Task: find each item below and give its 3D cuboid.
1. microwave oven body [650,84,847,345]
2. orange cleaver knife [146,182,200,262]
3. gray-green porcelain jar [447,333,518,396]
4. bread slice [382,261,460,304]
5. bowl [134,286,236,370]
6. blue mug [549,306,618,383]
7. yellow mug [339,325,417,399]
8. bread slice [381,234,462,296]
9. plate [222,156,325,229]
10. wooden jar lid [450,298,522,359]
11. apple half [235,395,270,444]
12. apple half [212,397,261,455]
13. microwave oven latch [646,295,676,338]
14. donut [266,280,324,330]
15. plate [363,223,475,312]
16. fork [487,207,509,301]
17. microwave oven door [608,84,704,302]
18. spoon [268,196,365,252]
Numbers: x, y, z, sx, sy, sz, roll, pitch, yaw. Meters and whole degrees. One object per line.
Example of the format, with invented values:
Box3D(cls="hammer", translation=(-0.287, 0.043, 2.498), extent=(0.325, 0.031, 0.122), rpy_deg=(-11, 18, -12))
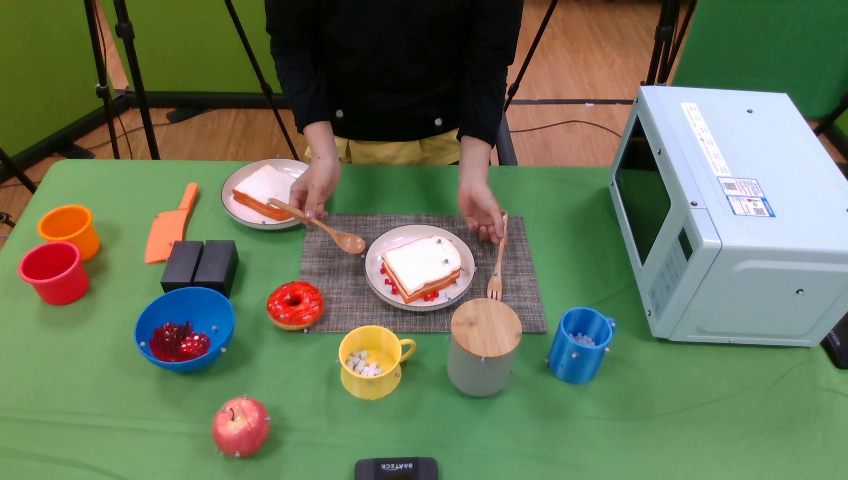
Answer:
Box3D(cls="microwave oven body", translation=(0.569, -0.054, 1.116), extent=(0.326, 0.261, 0.439), rpy_deg=(2, 46, -1))
Box3D(cls="orange cleaver knife", translation=(-0.494, -0.039, 1.198), extent=(0.077, 0.012, 0.210), rpy_deg=(-3, 48, 2))
Box3D(cls="gray-green porcelain jar", translation=(0.091, 0.178, 0.960), extent=(0.106, 0.127, 0.105), rpy_deg=(2, 46, -2))
Box3D(cls="bread slice", translation=(0.000, 0.055, 1.129), extent=(0.131, 0.019, 0.104), rpy_deg=(-22, 51, -21))
Box3D(cls="bowl", translation=(-0.377, 0.156, 0.981), extent=(0.151, 0.077, 0.150), rpy_deg=(2, 46, -2))
Box3D(cls="blue mug", translation=(0.269, 0.167, 0.997), extent=(0.116, 0.106, 0.082), rpy_deg=(-19, 50, -21))
Box3D(cls="yellow mug", translation=(-0.072, 0.191, 0.978), extent=(0.131, 0.064, 0.099), rpy_deg=(-17, 49, -20))
Box3D(cls="bread slice", translation=(0.001, 0.038, 1.107), extent=(0.134, 0.018, 0.106), rpy_deg=(-25, 56, -23))
Box3D(cls="plate", translation=(-0.308, -0.095, 1.251), extent=(0.209, 0.038, 0.208), rpy_deg=(2, 47, -2))
Box3D(cls="wooden jar lid", translation=(0.093, 0.135, 0.914), extent=(0.108, 0.021, 0.107), rpy_deg=(2, 49, -3))
Box3D(cls="apple half", translation=(-0.245, 0.260, 0.893), extent=(0.033, 0.082, 0.081), rpy_deg=(-29, 55, -22))
Box3D(cls="apple half", translation=(-0.276, 0.276, 0.877), extent=(0.053, 0.075, 0.080), rpy_deg=(-29, 58, -21))
Box3D(cls="microwave oven latch", translation=(0.413, 0.133, 1.060), extent=(0.030, 0.029, 0.078), rpy_deg=(4, 46, 1))
Box3D(cls="donut", translation=(-0.223, 0.112, 1.051), extent=(0.099, 0.048, 0.098), rpy_deg=(2, 46, -2))
Box3D(cls="plate", translation=(-0.009, 0.054, 1.126), extent=(0.208, 0.039, 0.206), rpy_deg=(2, 46, -2))
Box3D(cls="fork", translation=(0.144, 0.027, 1.145), extent=(0.028, 0.019, 0.206), rpy_deg=(14, 67, -5))
Box3D(cls="microwave oven door", translation=(0.424, -0.096, 1.138), extent=(0.039, 0.245, 0.353), rpy_deg=(3, 46, -1))
Box3D(cls="spoon", translation=(-0.194, -0.032, 1.102), extent=(0.194, 0.021, 0.041), rpy_deg=(31, 55, -18))
